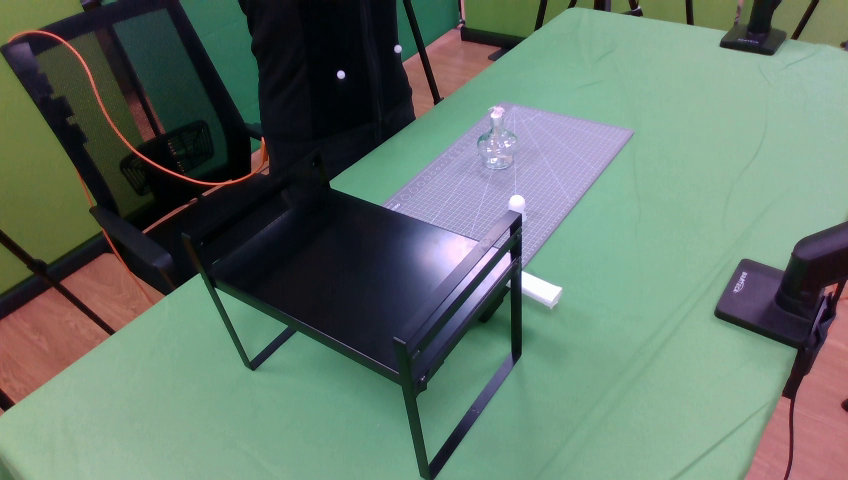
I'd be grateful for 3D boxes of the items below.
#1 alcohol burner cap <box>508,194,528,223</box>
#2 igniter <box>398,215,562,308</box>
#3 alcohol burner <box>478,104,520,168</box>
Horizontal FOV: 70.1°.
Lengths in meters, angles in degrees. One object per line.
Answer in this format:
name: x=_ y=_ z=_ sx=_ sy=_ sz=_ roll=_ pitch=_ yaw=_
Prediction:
alcohol burner cap: x=0.155 y=-0.053 z=0.996 sx=0.034 sy=0.048 sz=0.033 roll=-4 pitch=39 yaw=4
igniter: x=0.068 y=0.024 z=0.863 sx=0.274 sy=0.025 sz=0.057 roll=26 pitch=50 yaw=29
alcohol burner: x=0.137 y=-0.193 z=1.106 sx=0.078 sy=0.119 sz=0.077 roll=-4 pitch=39 yaw=4
